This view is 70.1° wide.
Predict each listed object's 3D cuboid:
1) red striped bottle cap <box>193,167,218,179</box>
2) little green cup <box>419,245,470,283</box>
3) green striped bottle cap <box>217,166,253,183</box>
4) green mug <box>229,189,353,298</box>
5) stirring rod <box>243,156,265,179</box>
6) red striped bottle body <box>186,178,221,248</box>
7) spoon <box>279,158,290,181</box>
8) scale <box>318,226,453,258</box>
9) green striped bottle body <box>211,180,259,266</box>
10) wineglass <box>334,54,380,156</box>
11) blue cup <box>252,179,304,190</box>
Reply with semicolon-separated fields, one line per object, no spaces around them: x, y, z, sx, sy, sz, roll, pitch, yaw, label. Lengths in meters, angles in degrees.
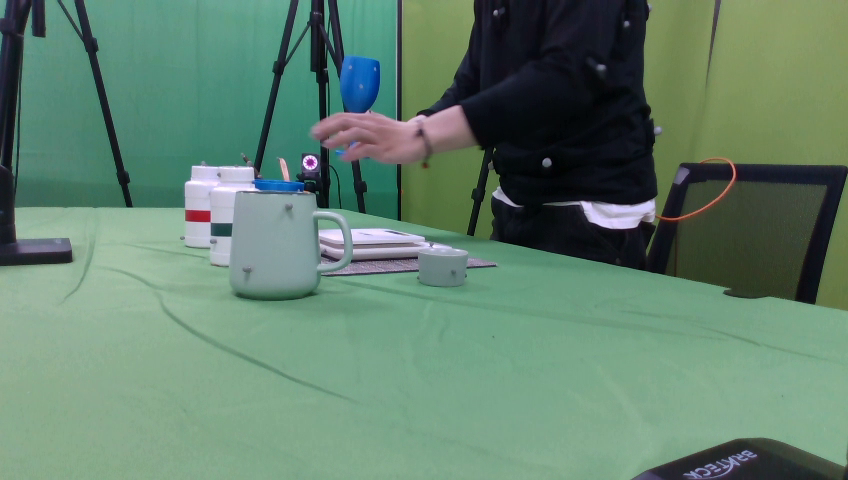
-0.329;-0.103;0.921;0.044;0.017;0.044;-1;9;0;red striped bottle cap
0.023;0.028;0.712;0.061;0.038;0.061;1;6;0;little green cup
-0.242;-0.085;0.777;0.044;0.020;0.044;2;9;0;green striped bottle cap
-0.135;0.002;0.618;0.125;0.105;0.092;2;7;4;green mug
-0.304;-0.099;1.201;0.006;0.177;0.014;-27;37;7;stirring rod
-0.331;-0.050;0.927;0.063;0.119;0.063;2;7;0;red striped bottle body
-0.281;-0.103;1.251;0.042;0.193;0.021;8;-41;-31;spoon
-0.066;0.001;0.906;0.202;0.031;0.148;-2;8;-31;scale
-0.243;-0.029;0.784;0.063;0.119;0.063;2;7;0;green striped bottle body
-0.120;-0.240;1.084;0.074;0.172;0.073;7;10;-1;wineglass
-0.230;-0.041;0.929;0.093;0.100;0.092;5;6;0;blue cup
